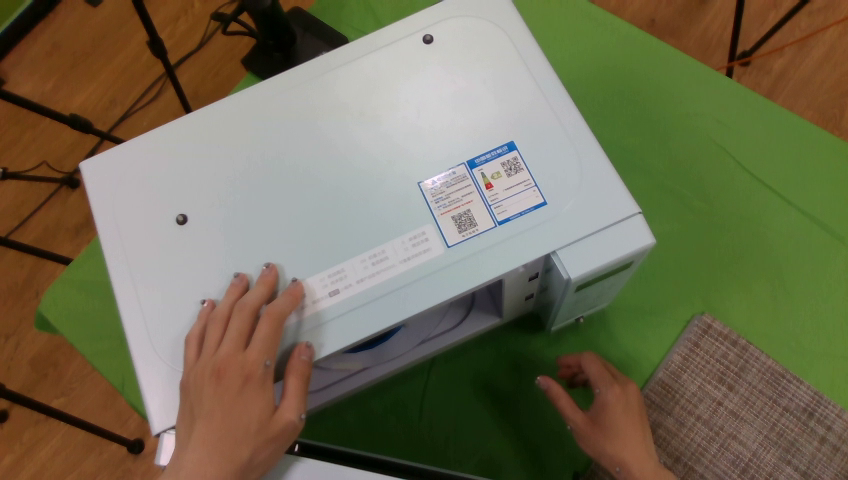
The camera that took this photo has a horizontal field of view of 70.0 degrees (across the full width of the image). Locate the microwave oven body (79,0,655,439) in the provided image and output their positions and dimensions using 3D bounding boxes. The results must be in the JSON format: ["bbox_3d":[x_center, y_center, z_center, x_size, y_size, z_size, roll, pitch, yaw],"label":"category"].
[{"bbox_3d":[-0.057,-0.010,0.646,0.442,0.262,0.323,-25,71,-1],"label":"microwave oven body"}]

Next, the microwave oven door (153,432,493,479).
[{"bbox_3d":[-0.027,0.226,0.559,0.355,0.245,0.039,8,72,9],"label":"microwave oven door"}]

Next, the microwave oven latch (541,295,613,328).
[{"bbox_3d":[0.175,0.072,0.695,0.079,0.030,0.030,-23,71,-1],"label":"microwave oven latch"}]
